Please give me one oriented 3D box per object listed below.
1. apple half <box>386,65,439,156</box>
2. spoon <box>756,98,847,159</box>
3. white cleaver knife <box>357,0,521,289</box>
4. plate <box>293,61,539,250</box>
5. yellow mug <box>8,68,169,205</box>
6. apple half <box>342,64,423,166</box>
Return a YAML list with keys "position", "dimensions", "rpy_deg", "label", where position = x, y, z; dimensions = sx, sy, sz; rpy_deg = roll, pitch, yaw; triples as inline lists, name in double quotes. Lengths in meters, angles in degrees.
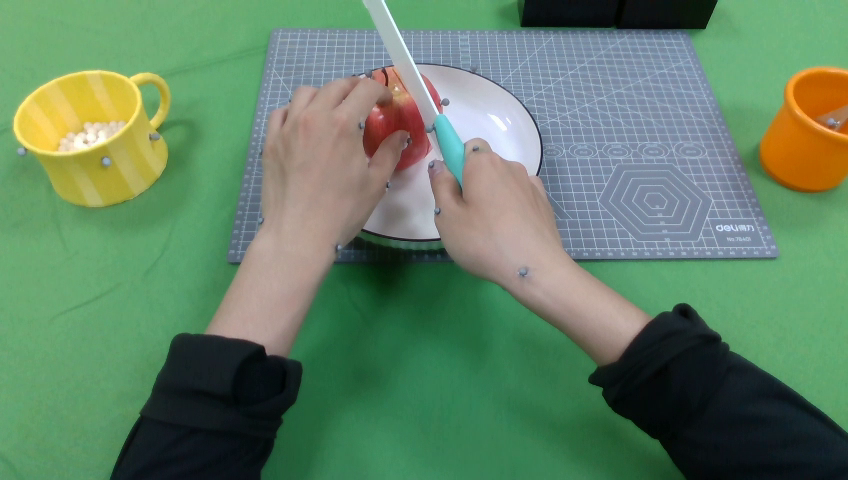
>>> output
- position: [-0.006, -0.114, 0.520]
  dimensions: [0.033, 0.082, 0.080]
  rpy_deg: [-24, 59, -13]
  label: "apple half"
- position: [0.379, -0.125, 0.506]
  dimensions: [0.022, 0.194, 0.041]
  rpy_deg: [28, 42, -37]
  label: "spoon"
- position: [0.003, -0.095, 0.455]
  dimensions: [0.021, 0.066, 0.285]
  rpy_deg: [-23, 82, -7]
  label: "white cleaver knife"
- position: [-0.007, -0.074, 0.526]
  dimensions: [0.209, 0.038, 0.207]
  rpy_deg: [1, 56, -1]
  label: "plate"
- position: [-0.274, -0.099, 0.522]
  dimensions: [0.099, 0.064, 0.130]
  rpy_deg: [29, 59, 17]
  label: "yellow mug"
- position: [-0.040, -0.099, 0.509]
  dimensions: [0.053, 0.075, 0.080]
  rpy_deg: [-25, 60, -11]
  label: "apple half"
